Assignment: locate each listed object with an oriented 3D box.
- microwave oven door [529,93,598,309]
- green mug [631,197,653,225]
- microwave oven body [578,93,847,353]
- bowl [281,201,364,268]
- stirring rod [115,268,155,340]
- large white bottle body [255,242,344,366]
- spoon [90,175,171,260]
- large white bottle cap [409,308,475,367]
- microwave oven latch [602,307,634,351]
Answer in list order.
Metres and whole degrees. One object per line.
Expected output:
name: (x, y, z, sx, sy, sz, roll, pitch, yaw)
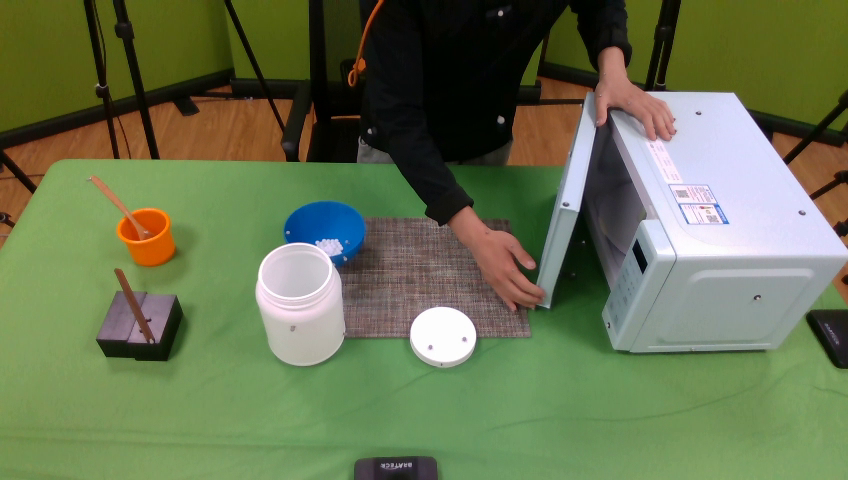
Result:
microwave oven door: (0.265, -0.082, 1.126, 0.039, 0.245, 0.354, 15, 47, 10)
green mug: (0.456, -0.058, 1.156, 0.125, 0.105, 0.092, -12, 46, -10)
microwave oven body: (0.475, -0.041, 1.110, 0.326, 0.261, 0.438, -1, 45, -4)
bowl: (-0.187, 0.005, 1.138, 0.151, 0.077, 0.150, 3, 46, -3)
stirring rod: (-0.479, 0.103, 0.999, 0.014, 0.006, 0.175, 7, 32, -49)
large white bottle body: (-0.196, 0.102, 0.967, 0.131, 0.185, 0.130, 2, 49, -2)
spoon: (-0.539, -0.042, 1.111, 0.041, 0.194, 0.021, -46, 19, -33)
large white bottle cap: (0.031, 0.166, 1.041, 0.115, 0.018, 0.114, 2, 46, -2)
microwave oven latch: (0.332, 0.153, 1.044, 0.030, 0.029, 0.078, -1, 45, -4)
